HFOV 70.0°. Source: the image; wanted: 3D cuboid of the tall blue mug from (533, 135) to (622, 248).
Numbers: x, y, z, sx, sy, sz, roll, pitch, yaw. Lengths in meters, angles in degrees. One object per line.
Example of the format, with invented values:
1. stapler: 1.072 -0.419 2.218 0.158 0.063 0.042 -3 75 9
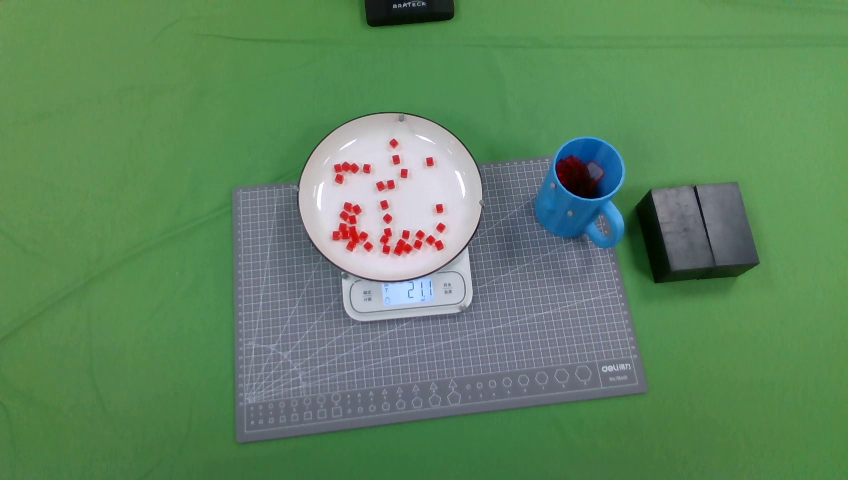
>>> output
1. tall blue mug: 0.184 -0.051 0.687 0.107 0.108 0.077 31 73 10

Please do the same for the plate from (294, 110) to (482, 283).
1. plate: -0.039 -0.048 0.687 0.209 0.038 0.207 1 71 -2

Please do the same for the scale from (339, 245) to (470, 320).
1. scale: -0.028 -0.011 0.710 0.149 0.032 0.199 -5 72 -2
